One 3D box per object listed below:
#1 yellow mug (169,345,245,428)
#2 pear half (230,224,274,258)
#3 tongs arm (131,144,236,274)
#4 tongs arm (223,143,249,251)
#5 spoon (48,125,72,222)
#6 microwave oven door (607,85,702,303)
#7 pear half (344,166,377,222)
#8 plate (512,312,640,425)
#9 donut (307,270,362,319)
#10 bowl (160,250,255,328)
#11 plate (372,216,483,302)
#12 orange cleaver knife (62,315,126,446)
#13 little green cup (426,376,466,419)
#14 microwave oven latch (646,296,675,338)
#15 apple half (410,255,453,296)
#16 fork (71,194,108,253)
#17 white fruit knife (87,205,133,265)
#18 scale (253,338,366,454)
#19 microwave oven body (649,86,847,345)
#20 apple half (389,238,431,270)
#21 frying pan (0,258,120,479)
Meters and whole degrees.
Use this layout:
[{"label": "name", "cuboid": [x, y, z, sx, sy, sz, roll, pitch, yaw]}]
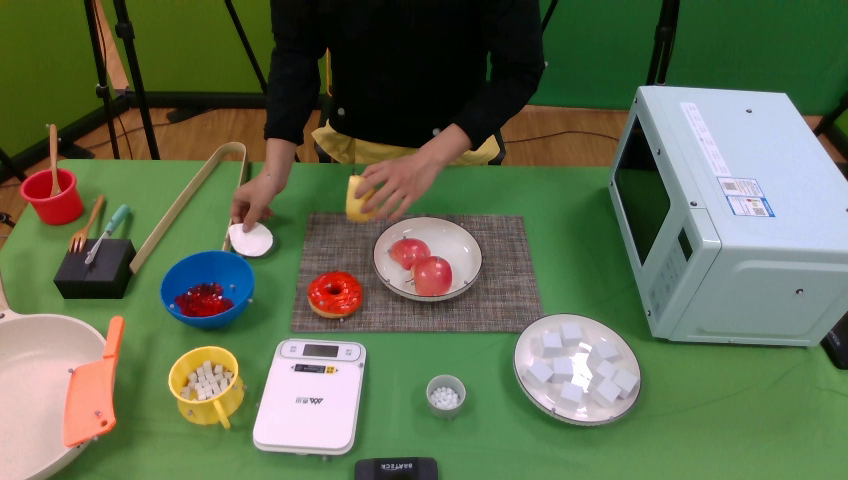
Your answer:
[{"label": "yellow mug", "cuboid": [-0.322, 0.230, 0.922, 0.100, 0.064, 0.130, -24, 53, -25]}, {"label": "pear half", "cuboid": [-0.334, 0.004, 1.168, 0.088, 0.031, 0.070, 32, 50, 5]}, {"label": "tongs arm", "cuboid": [-0.483, -0.077, 1.235, 0.028, 0.028, 0.385, 6, 45, 13]}, {"label": "tongs arm", "cuboid": [-0.397, -0.073, 1.232, 0.051, 0.027, 0.382, -2, 45, 0]}, {"label": "spoon", "cuboid": [-0.718, -0.131, 1.189, 0.041, 0.021, 0.193, -4, 90, -6]}, {"label": "microwave oven door", "cuboid": [0.423, -0.094, 1.140, 0.039, 0.245, 0.353, 2, 46, -1]}, {"label": "pear half", "cuboid": [-0.112, -0.084, 1.072, 0.056, 0.110, 0.076, 0, 47, 4]}, {"label": "plate", "cuboid": [0.246, 0.213, 0.999, 0.208, 0.039, 0.206, 2, 46, -2]}, {"label": "donut", "cuboid": [-0.158, 0.096, 1.073, 0.099, 0.048, 0.098, 4, 45, -4]}, {"label": "bowl", "cuboid": [-0.362, 0.098, 1.040, 0.151, 0.077, 0.150, 2, 45, -2]}, {"label": "plate", "cuboid": [0.006, 0.038, 1.146, 0.209, 0.038, 0.208, 2, 46, -2]}, {"label": "orange cleaver knife", "cuboid": [-0.480, 0.199, 0.887, 0.077, 0.012, 0.210, -9, 47, -8]}, {"label": "little green cup", "cuboid": [0.033, 0.248, 0.950, 0.061, 0.039, 0.061, 2, 46, -2]}, {"label": "microwave oven latch", "cuboid": [0.412, 0.134, 1.061, 0.030, 0.029, 0.078, 4, 45, 1]}, {"label": "apple half", "cuboid": [0.015, 0.058, 1.102, 0.075, 0.053, 0.080, -2, 43, -9]}, {"label": "fork", "cuboid": [-0.634, -0.036, 1.158, 0.028, 0.019, 0.206, -7, 31, -8]}, {"label": "white fruit knife", "cuboid": [-0.584, -0.013, 1.129, 0.016, 0.027, 0.206, -1, 32, -4]}, {"label": "scale", "cuboid": [-0.175, 0.236, 0.951, 0.149, 0.032, 0.199, 4, 45, -1]}, {"label": "microwave oven body", "cuboid": [0.567, -0.053, 1.118, 0.326, 0.261, 0.439, 2, 45, -1]}, {"label": "apple half", "cuboid": [-0.026, 0.016, 1.157, 0.081, 0.033, 0.081, 2, 47, -2]}, {"label": "frying pan", "cuboid": [-0.647, 0.164, 0.936, 0.307, 0.103, 0.485, -19, 58, -22]}]
